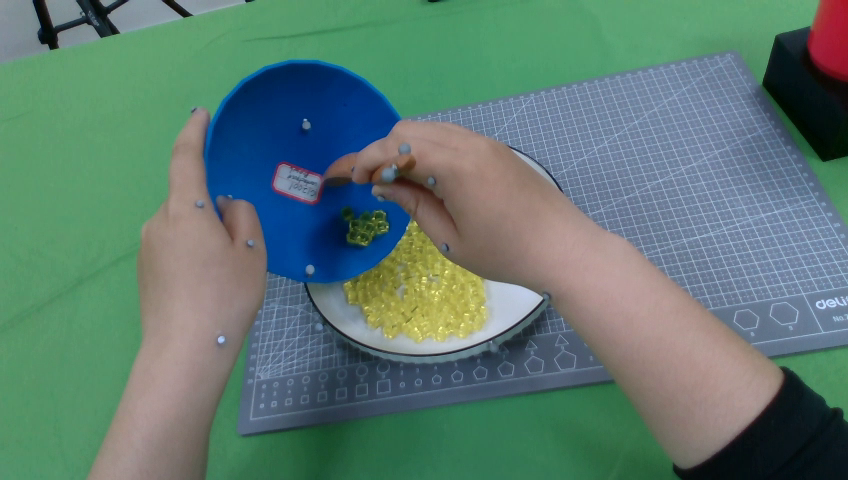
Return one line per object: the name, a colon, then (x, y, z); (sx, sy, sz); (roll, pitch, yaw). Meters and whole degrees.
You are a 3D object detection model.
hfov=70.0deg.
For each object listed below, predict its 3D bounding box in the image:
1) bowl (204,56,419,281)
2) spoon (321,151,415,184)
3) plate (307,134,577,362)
bowl: (-0.087, -0.047, 0.437); (0.151, 0.152, 0.076); (-48, 22, -22)
spoon: (-0.032, -0.041, 0.357); (0.041, 0.022, 0.192); (-23, 14, -13)
plate: (0.012, 0.003, 0.470); (0.207, 0.039, 0.205); (-7, 53, 9)
